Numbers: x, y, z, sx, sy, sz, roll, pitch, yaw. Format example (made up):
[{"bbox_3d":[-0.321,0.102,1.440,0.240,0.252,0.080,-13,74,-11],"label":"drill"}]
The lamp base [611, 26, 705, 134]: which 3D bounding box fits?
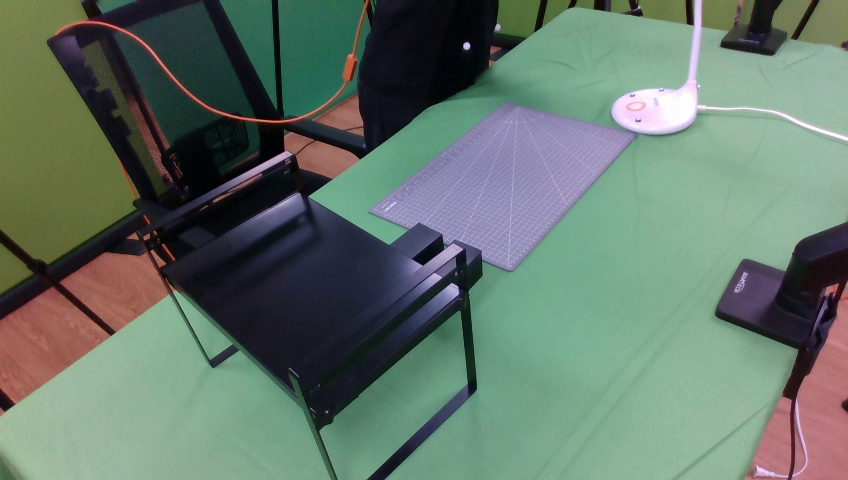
[{"bbox_3d":[0.459,-0.317,1.154,0.179,0.181,0.159,-6,41,-1],"label":"lamp base"}]
